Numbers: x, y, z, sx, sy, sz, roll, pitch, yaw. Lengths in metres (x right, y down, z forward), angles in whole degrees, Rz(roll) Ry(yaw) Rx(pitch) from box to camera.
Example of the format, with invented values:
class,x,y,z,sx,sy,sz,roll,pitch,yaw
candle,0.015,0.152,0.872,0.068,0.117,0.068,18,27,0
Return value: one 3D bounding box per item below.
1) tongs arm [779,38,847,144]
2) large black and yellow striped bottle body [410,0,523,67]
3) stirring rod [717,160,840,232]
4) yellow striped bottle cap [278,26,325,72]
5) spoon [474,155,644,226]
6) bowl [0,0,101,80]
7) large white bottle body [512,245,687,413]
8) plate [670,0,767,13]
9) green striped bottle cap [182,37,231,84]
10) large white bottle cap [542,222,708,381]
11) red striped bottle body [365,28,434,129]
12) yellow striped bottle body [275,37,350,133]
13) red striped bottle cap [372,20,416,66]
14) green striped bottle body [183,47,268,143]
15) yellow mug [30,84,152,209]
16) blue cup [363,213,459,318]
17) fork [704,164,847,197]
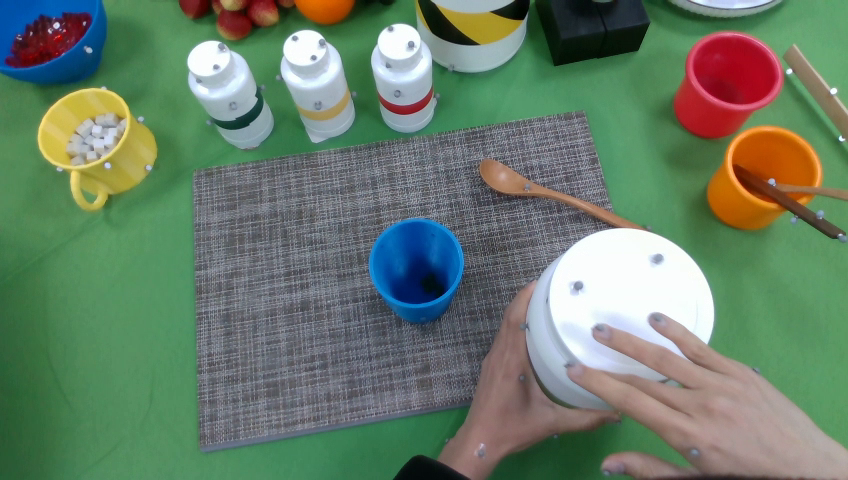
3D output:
class,x,y,z,sx,sy,sz,roll,pitch,yaw
tongs arm,0.504,-0.067,0.634,0.051,0.027,0.382,-21,71,-8
large black and yellow striped bottle body,0.046,-0.292,0.655,0.131,0.185,0.130,-1,70,2
stirring rod,0.332,-0.046,0.581,0.014,0.006,0.174,-7,27,-3
yellow striped bottle cap,-0.122,-0.190,0.603,0.044,0.019,0.044,0,71,1
spoon,0.143,-0.047,0.645,0.193,0.022,0.041,21,47,9
bowl,-0.444,-0.243,0.711,0.151,0.077,0.150,0,70,1
large white bottle body,0.147,0.073,0.514,0.130,0.186,0.129,-1,69,3
plate,0.352,-0.361,0.746,0.209,0.038,0.207,-1,71,2
green striped bottle cap,-0.217,-0.178,0.602,0.044,0.020,0.044,0,69,1
large white bottle cap,0.143,0.042,0.433,0.115,0.018,0.114,0,70,2
red striped bottle body,-0.026,-0.177,0.650,0.063,0.120,0.062,-2,68,6
yellow striped bottle body,-0.120,-0.172,0.651,0.063,0.121,0.062,-1,69,3
red striped bottle cap,-0.030,-0.196,0.601,0.044,0.018,0.044,1,68,-2
green striped bottle body,-0.213,-0.160,0.651,0.063,0.120,0.063,-1,69,2
yellow mug,-0.364,-0.097,0.661,0.100,0.064,0.130,0,70,1
blue cup,-0.010,0.033,0.579,0.092,0.101,0.092,0,69,1
fork,0.363,-0.049,0.573,0.028,0.019,0.205,-49,31,-12
